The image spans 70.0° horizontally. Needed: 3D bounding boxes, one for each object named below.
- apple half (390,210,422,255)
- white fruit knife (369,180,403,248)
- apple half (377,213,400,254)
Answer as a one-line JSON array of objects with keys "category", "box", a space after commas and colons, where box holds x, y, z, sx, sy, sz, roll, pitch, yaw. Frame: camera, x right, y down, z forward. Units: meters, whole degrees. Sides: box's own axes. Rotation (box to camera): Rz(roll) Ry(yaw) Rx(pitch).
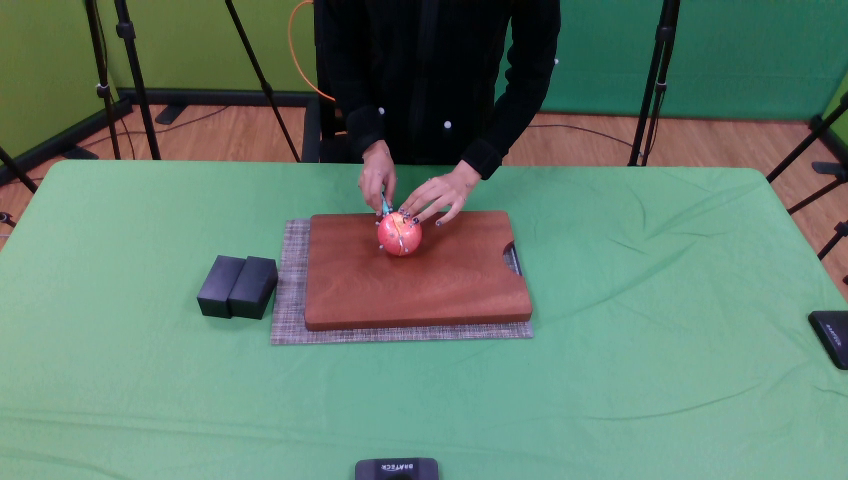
[{"category": "apple half", "box": [-0.032, -0.014, 1.134, 0.053, 0.075, 0.080, -10, 44, -20]}, {"category": "white fruit knife", "box": [-0.071, -0.053, 1.149, 0.016, 0.027, 0.206, -11, 44, -17]}, {"category": "apple half", "box": [-0.070, -0.006, 1.123, 0.033, 0.081, 0.080, -13, 49, -17]}]
